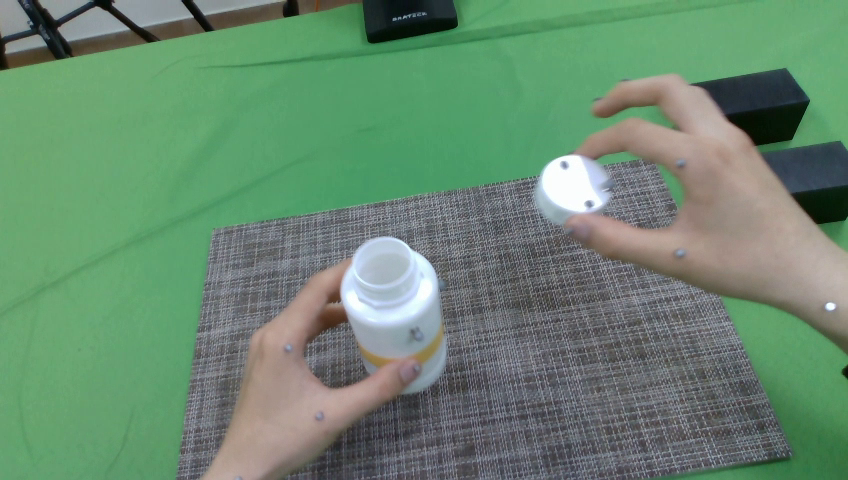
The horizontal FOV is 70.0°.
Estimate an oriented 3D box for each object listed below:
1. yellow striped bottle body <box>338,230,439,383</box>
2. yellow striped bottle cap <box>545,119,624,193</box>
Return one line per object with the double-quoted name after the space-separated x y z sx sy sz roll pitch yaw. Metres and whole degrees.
-0.022 0.044 0.410 0.063 0.121 0.062 -1 53 2 "yellow striped bottle body"
0.094 -0.049 0.357 0.044 0.019 0.044 1 55 -1 "yellow striped bottle cap"
